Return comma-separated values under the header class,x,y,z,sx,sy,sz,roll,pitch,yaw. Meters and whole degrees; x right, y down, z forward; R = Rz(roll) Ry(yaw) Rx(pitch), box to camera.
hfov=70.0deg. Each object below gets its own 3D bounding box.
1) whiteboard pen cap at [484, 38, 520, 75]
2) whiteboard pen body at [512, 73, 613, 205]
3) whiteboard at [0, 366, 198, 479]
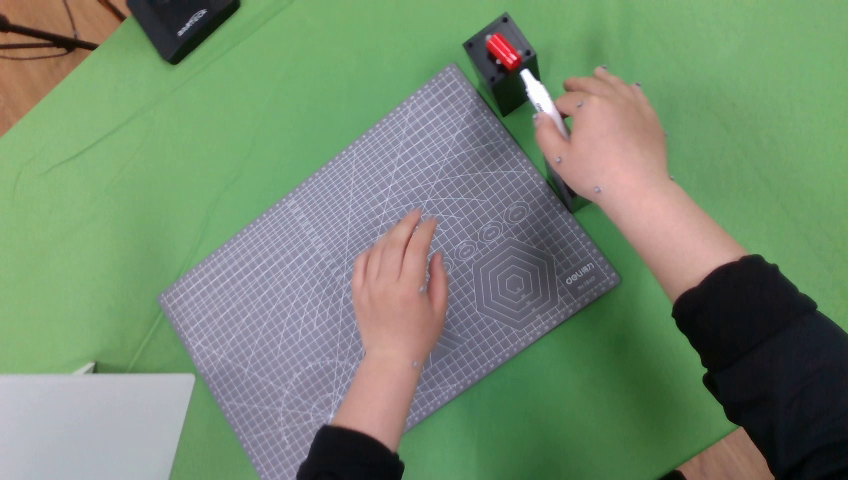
class,x,y,z,sx,sy,sz,roll,pitch,yaw
whiteboard pen cap,0.071,-0.167,0.552,0.017,0.017,0.032,-42,79,7
whiteboard pen body,0.117,-0.090,0.523,0.017,0.017,0.140,-35,80,8
whiteboard,-0.429,0.227,0.623,0.143,0.308,0.217,14,88,34
